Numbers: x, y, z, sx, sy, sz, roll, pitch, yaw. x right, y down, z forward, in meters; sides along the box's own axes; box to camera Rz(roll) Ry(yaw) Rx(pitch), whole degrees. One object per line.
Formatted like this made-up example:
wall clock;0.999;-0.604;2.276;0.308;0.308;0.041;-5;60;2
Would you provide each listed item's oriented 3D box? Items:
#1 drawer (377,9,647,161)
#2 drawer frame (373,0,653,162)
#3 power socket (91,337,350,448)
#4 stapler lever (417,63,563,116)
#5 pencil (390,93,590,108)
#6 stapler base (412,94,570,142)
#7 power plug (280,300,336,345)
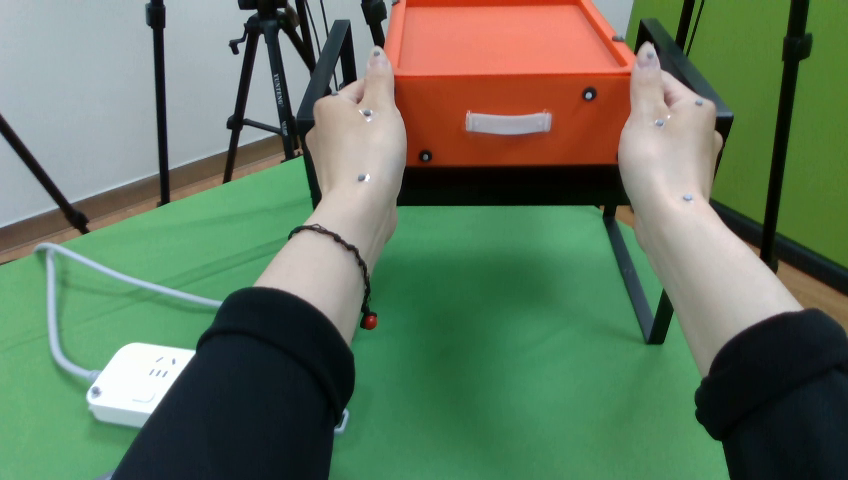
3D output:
drawer;0.065;-0.146;0.530;0.194;0.074;0.210;-1;35;2
drawer frame;0.065;-0.150;0.531;0.202;0.083;0.211;-2;35;1
power socket;-0.176;0.129;0.525;0.226;0.033;0.071;6;39;9
stapler lever;0.053;-0.125;0.491;0.117;0.040;0.026;9;35;15
pencil;0.050;-0.123;0.532;0.193;0.012;0.012;7;38;31
stapler base;0.056;-0.105;0.505;0.130;0.024;0.041;8;35;16
power plug;-0.117;0.085;0.592;0.072;0.035;0.052;-22;22;32
